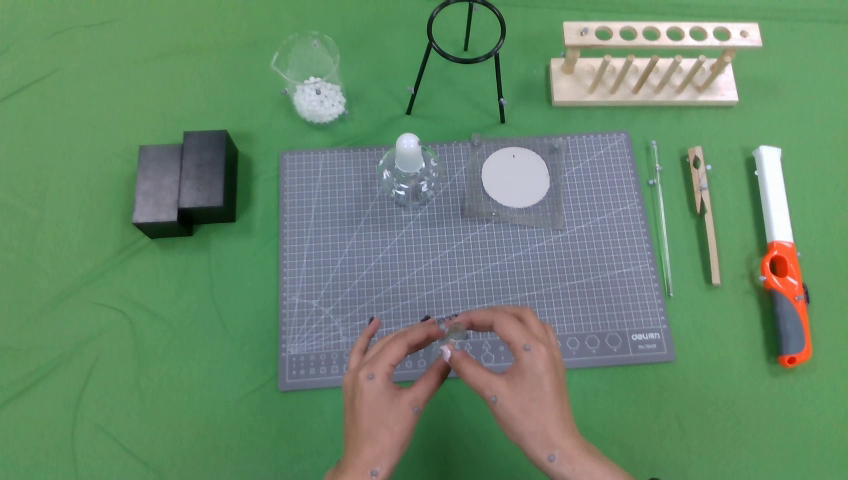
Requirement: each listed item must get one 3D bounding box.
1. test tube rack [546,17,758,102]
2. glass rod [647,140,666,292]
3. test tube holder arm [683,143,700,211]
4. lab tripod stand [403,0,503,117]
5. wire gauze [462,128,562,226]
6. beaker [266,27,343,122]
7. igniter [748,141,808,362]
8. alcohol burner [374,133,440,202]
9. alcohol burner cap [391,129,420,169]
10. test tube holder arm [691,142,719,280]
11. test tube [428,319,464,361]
[{"bbox_3d":[0.286,-0.229,0.774,0.242,0.085,0.066,-1,71,-1],"label":"test tube rack"},{"bbox_3d":[0.288,-0.032,0.748,0.008,0.008,0.198,1,74,-1],"label":"glass rod"},{"bbox_3d":[0.338,-0.080,0.761,0.010,0.015,0.087,-12,70,31],"label":"test tube holder arm"},{"bbox_3d":[0.040,-0.220,0.740,0.148,0.132,0.147,0,73,-1],"label":"lab tripod stand"},{"bbox_3d":[0.112,-0.082,0.759,0.125,0.011,0.121,7,72,0],"label":"wire gauze"},{"bbox_3d":[-0.142,-0.199,0.747,0.084,0.101,0.073,-12,71,-4],"label":"beaker"},{"bbox_3d":[0.423,0.008,0.727,0.057,0.025,0.274,6,71,-10],"label":"igniter"},{"bbox_3d":[-0.021,-0.091,0.703,0.078,0.120,0.077,0,71,1],"label":"alcohol burner"},{"bbox_3d":[-0.021,-0.104,0.669,0.034,0.048,0.033,1,65,-1],"label":"alcohol burner cap"},{"bbox_3d":[0.344,-0.038,0.745,0.013,0.015,0.177,-13,69,31],"label":"test tube holder arm"},{"bbox_3d":[0.018,0.094,0.555,0.017,0.151,0.017,2,71,-5],"label":"test tube"}]
